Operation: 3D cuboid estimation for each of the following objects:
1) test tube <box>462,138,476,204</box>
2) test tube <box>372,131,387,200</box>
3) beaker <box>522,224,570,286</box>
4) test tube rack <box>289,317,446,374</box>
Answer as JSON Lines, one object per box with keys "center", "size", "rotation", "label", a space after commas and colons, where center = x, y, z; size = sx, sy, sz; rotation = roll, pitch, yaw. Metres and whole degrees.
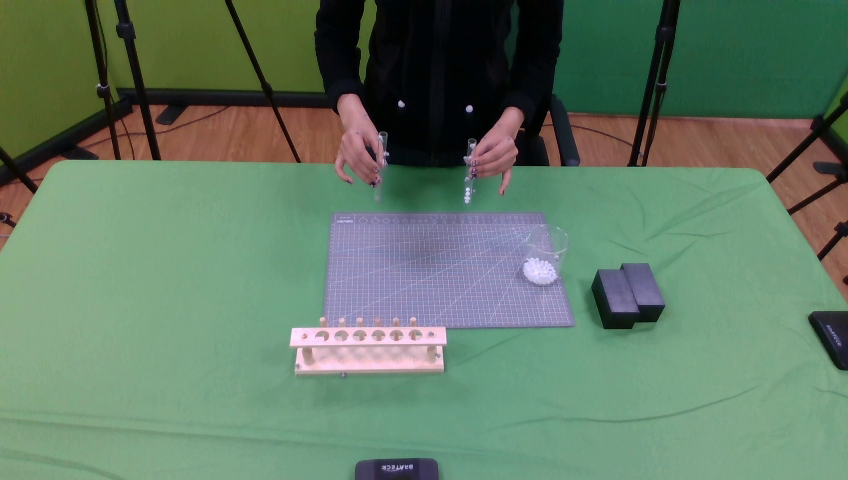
{"center": [0.083, -0.125, 1.124], "size": [0.017, 0.151, 0.017], "rotation": [1, 46, -1], "label": "test tube"}
{"center": [-0.080, -0.130, 1.089], "size": [0.017, 0.151, 0.017], "rotation": [5, 44, -5], "label": "test tube"}
{"center": [0.221, 0.032, 1.129], "size": [0.084, 0.101, 0.073], "rotation": [-6, 46, -9], "label": "beaker"}
{"center": [-0.089, 0.167, 0.988], "size": [0.242, 0.085, 0.066], "rotation": [0, 46, -4], "label": "test tube rack"}
